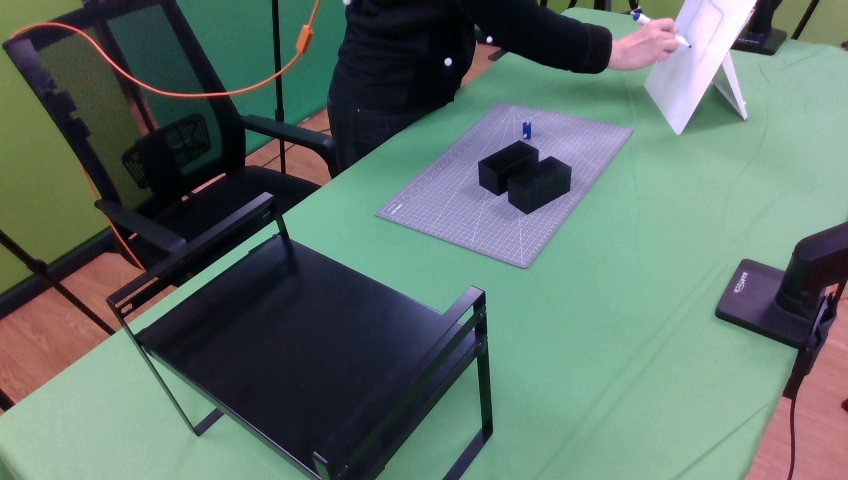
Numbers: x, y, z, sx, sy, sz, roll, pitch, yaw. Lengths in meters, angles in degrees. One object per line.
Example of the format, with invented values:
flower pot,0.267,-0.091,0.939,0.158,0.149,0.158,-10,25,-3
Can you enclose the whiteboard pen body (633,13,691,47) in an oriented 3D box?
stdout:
whiteboard pen body,0.445,-0.387,1.123,0.142,0.017,0.017,17,36,-22

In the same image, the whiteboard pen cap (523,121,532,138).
whiteboard pen cap,0.204,-0.216,1.185,0.018,0.033,0.018,-6,42,6

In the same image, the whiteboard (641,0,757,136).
whiteboard,0.576,-0.367,1.147,0.144,0.306,0.216,9,39,-9
